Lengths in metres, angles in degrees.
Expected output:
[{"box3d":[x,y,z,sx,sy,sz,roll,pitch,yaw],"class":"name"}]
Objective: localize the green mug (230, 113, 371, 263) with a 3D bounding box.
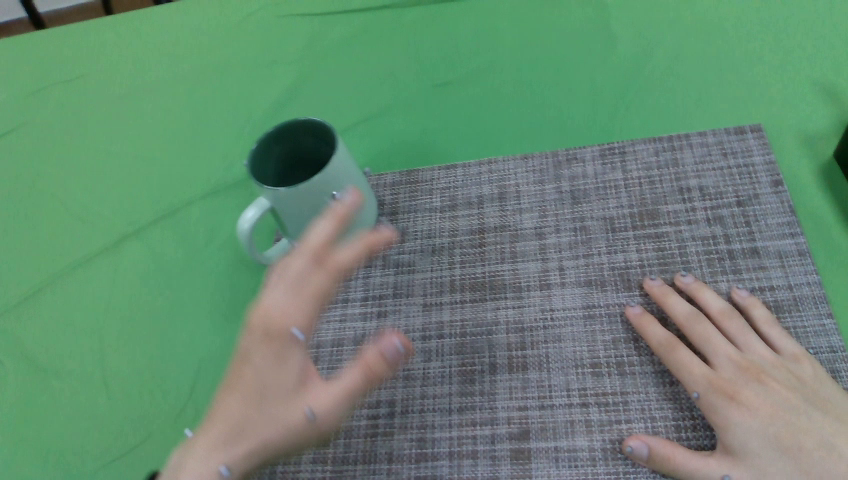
[{"box3d":[-0.112,-0.033,0.524,0.092,0.106,0.125,31,69,28],"class":"green mug"}]
